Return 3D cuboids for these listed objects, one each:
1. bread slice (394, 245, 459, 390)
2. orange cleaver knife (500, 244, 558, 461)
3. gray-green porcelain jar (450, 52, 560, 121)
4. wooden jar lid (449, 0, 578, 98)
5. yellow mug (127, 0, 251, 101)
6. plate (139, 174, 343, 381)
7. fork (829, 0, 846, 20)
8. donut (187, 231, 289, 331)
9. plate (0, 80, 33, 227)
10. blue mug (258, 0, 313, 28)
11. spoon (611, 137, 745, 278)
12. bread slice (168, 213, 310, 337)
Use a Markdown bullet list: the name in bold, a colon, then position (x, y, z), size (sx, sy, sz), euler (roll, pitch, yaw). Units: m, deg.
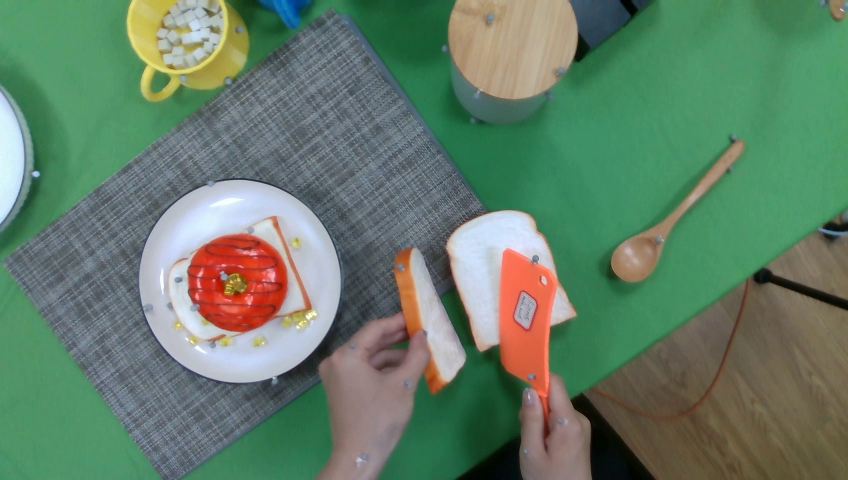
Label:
- **bread slice**: position (0.004, 0.070, 0.596), size (0.018, 0.107, 0.134), euler (-19, 88, 8)
- **orange cleaver knife**: position (0.101, 0.110, 0.587), size (0.012, 0.076, 0.212), euler (-14, 106, -34)
- **gray-green porcelain jar**: position (0.078, -0.173, 0.575), size (0.106, 0.126, 0.106), euler (0, 91, 1)
- **wooden jar lid**: position (0.075, -0.173, 0.513), size (0.108, 0.020, 0.108), euler (0, 92, -2)
- **yellow mug**: position (-0.243, -0.197, 0.613), size (0.100, 0.064, 0.131), euler (33, 93, 2)
- **plate**: position (-0.185, 0.039, 0.626), size (0.209, 0.038, 0.209), euler (0, 91, 2)
- **fork**: position (0.365, -0.255, 0.554), size (0.028, 0.019, 0.206), euler (27, 48, -6)
- **donut**: position (-0.183, 0.041, 0.599), size (0.099, 0.048, 0.099), euler (0, 91, -2)
- **plate**: position (-0.508, -0.091, 0.636), size (0.207, 0.039, 0.207), euler (0, 91, 1)
- **blue mug**: position (-0.144, -0.266, 0.590), size (0.082, 0.106, 0.116), euler (-15, 91, 2)
- **spoon**: position (0.265, -0.035, 0.625), size (0.041, 0.022, 0.194), euler (44, 92, 19)
- **bread slice**: position (-0.197, 0.045, 0.630), size (0.131, 0.019, 0.105), euler (-23, 90, -1)
